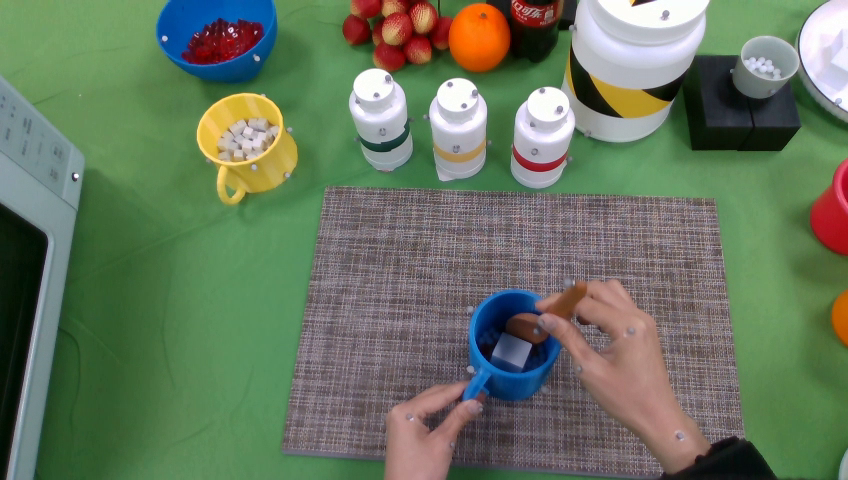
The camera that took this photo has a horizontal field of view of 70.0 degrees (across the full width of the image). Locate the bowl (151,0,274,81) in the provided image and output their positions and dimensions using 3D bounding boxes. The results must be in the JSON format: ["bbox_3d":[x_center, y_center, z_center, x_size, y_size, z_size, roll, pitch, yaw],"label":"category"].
[{"bbox_3d":[-0.259,-0.259,0.779,0.151,0.077,0.150,-1,66,3],"label":"bowl"}]

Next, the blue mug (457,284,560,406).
[{"bbox_3d":[0.071,0.110,0.575,0.082,0.106,0.116,37,74,19],"label":"blue mug"}]

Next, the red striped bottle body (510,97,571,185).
[{"bbox_3d":[0.127,-0.116,0.666,0.063,0.120,0.062,-3,64,6],"label":"red striped bottle body"}]

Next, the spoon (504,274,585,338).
[{"bbox_3d":[0.101,0.059,0.507,0.041,0.194,0.021,23,74,3],"label":"spoon"}]

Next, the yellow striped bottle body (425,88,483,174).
[{"bbox_3d":[0.035,-0.130,0.678,0.063,0.121,0.062,-2,65,4],"label":"yellow striped bottle body"}]

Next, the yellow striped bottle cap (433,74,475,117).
[{"bbox_3d":[0.031,-0.151,0.631,0.044,0.019,0.044,-1,68,3],"label":"yellow striped bottle cap"}]

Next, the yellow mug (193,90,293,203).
[{"bbox_3d":[-0.217,-0.104,0.714,0.100,0.064,0.130,12,68,8],"label":"yellow mug"}]

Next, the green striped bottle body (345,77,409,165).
[{"bbox_3d":[-0.053,-0.142,0.690,0.063,0.120,0.062,-1,66,4],"label":"green striped bottle body"}]

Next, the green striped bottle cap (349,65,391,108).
[{"bbox_3d":[-0.058,-0.163,0.642,0.044,0.020,0.044,-1,66,2],"label":"green striped bottle cap"}]

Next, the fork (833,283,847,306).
[{"bbox_3d":[0.470,0.081,0.539,0.028,0.019,0.205,-34,24,-10],"label":"fork"}]

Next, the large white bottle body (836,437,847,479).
[{"bbox_3d":[0.436,0.193,0.473,0.130,0.186,0.129,-2,65,4],"label":"large white bottle body"}]

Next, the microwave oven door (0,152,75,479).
[{"bbox_3d":[-0.418,0.076,0.534,0.039,0.245,0.353,-7,66,2],"label":"microwave oven door"}]

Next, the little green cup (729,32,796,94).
[{"bbox_3d":[0.372,-0.195,0.672,0.061,0.039,0.061,0,64,1],"label":"little green cup"}]

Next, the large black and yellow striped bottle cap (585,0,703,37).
[{"bbox_3d":[0.215,-0.247,0.590,0.115,0.019,0.114,-2,65,4],"label":"large black and yellow striped bottle cap"}]

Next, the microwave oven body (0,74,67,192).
[{"bbox_3d":[-0.566,0.056,0.559,0.326,0.262,0.438,-6,67,1],"label":"microwave oven body"}]

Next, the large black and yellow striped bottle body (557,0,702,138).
[{"bbox_3d":[0.222,-0.214,0.667,0.131,0.185,0.130,-2,66,4],"label":"large black and yellow striped bottle body"}]

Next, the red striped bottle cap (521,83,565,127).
[{"bbox_3d":[0.122,-0.138,0.618,0.044,0.018,0.044,0,65,0],"label":"red striped bottle cap"}]

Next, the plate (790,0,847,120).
[{"bbox_3d":[0.543,-0.216,0.725,0.209,0.038,0.207,-1,67,3],"label":"plate"}]

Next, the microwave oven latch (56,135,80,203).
[{"bbox_3d":[-0.429,-0.082,0.715,0.030,0.030,0.078,-5,67,1],"label":"microwave oven latch"}]
